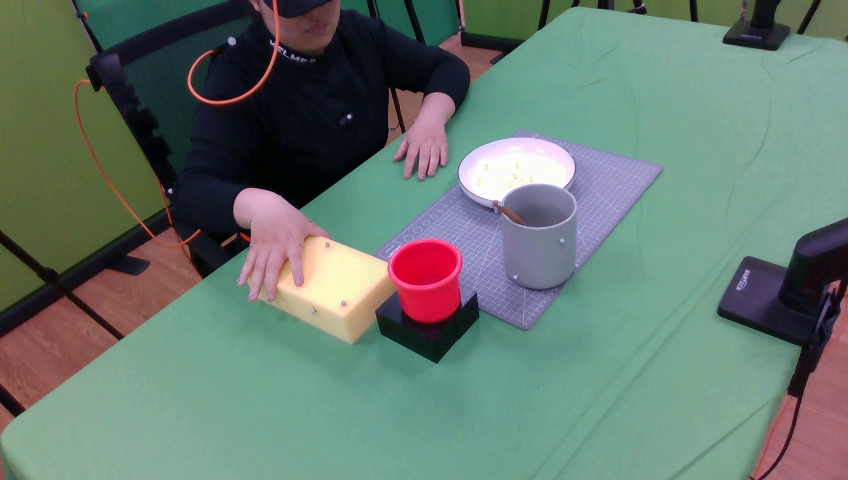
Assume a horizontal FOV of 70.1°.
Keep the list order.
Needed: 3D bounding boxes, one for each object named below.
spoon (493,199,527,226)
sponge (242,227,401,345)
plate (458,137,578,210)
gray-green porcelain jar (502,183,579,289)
[{"bbox_3d":[0.135,-0.016,0.831,0.021,0.195,0.041,-49,53,-1],"label":"spoon"},{"bbox_3d":[-0.153,0.063,0.907,0.205,0.061,0.118,19,48,29],"label":"sponge"},{"bbox_3d":[0.166,-0.113,1.068,0.207,0.039,0.206,-5,40,5],"label":"plate"},{"bbox_3d":[0.167,-0.001,0.866,0.106,0.127,0.105,-5,40,5],"label":"gray-green porcelain jar"}]
